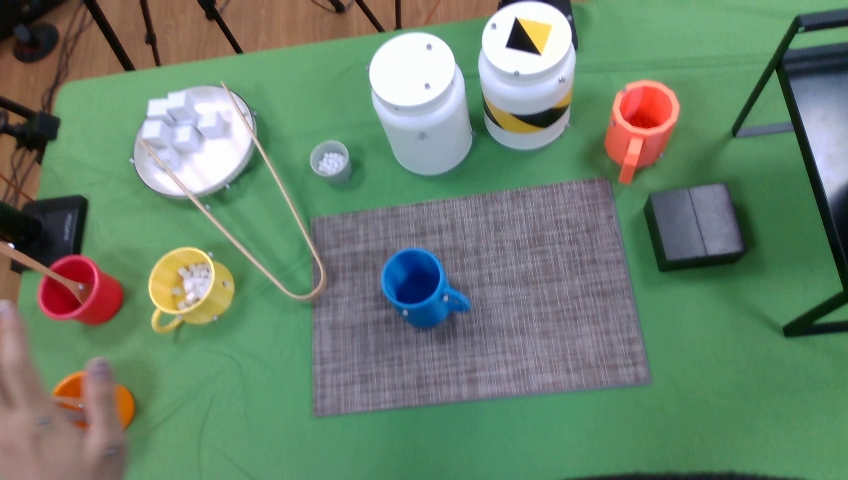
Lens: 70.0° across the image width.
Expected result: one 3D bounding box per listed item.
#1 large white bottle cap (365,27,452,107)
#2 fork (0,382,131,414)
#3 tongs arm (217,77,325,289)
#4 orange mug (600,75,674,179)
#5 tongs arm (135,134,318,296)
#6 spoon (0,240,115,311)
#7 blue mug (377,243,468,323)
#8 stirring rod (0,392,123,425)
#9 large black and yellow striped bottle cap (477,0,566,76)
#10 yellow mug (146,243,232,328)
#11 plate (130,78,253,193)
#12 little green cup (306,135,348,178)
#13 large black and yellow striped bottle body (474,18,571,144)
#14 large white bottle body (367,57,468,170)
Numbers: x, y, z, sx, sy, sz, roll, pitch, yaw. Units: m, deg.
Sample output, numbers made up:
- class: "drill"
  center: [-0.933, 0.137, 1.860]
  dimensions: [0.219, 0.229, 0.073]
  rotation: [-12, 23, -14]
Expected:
- class: "large white bottle cap"
  center: [-0.021, -0.227, 0.793]
  dimensions: [0.114, 0.018, 0.114]
  rotation: [-3, 70, 8]
- class: "fork"
  center: [-0.509, 0.209, 0.819]
  dimensions: [0.209, 0.018, 0.028]
  rotation: [21, 67, -31]
- class: "tongs arm"
  center: [-0.239, -0.097, 0.932]
  dimensions: [0.028, 0.028, 0.385]
  rotation: [-27, 75, -11]
- class: "orange mug"
  center: [0.295, -0.155, 0.856]
  dimensions: [0.083, 0.101, 0.125]
  rotation: [15, 69, 14]
- class: "tongs arm"
  center: [-0.305, -0.046, 0.921]
  dimensions: [0.051, 0.027, 0.383]
  rotation: [-42, 77, -11]
- class: "spoon"
  center: [-0.549, 0.045, 0.889]
  dimensions: [0.195, 0.021, 0.041]
  rotation: [38, 74, -26]
- class: "blue mug"
  center: [0.004, 0.065, 0.813]
  dimensions: [0.116, 0.106, 0.082]
  rotation: [17, 73, 15]
- class: "stirring rod"
  center: [-0.499, 0.226, 0.814]
  dimensions: [0.006, 0.178, 0.014]
  rotation: [-35, 42, 42]
- class: "large black and yellow striped bottle cap"
  center: [0.126, -0.266, 0.785]
  dimensions: [0.115, 0.019, 0.114]
  rotation: [-2, 70, 7]
- class: "yellow mug"
  center: [-0.354, 0.074, 0.890]
  dimensions: [0.099, 0.064, 0.130]
  rotation: [31, 78, 17]
- class: "plate"
  center: [-0.376, -0.168, 0.997]
  dimensions: [0.207, 0.039, 0.206]
  rotation: [-3, 70, 8]
- class: "little green cup"
  center: [-0.149, -0.127, 0.946]
  dimensions: [0.061, 0.039, 0.061]
  rotation: [-3, 70, 9]
- class: "large black and yellow striped bottle body"
  center: [0.140, -0.235, 0.863]
  dimensions: [0.130, 0.185, 0.130]
  rotation: [-3, 69, 8]
- class: "large white bottle body"
  center: [-0.007, -0.198, 0.872]
  dimensions: [0.130, 0.186, 0.129]
  rotation: [-3, 69, 8]
